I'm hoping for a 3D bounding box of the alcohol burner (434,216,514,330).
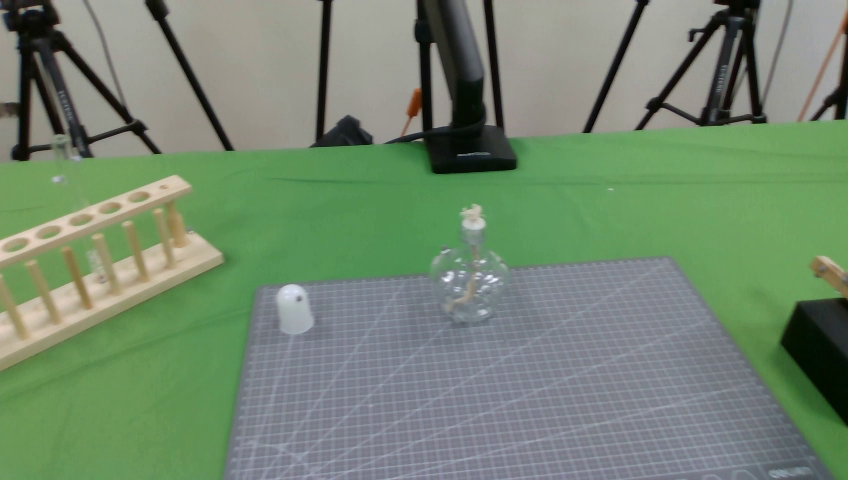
[{"bbox_3d":[0.048,0.026,0.570,0.078,0.120,0.077,1,37,0],"label":"alcohol burner"}]

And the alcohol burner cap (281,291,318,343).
[{"bbox_3d":[-0.119,0.070,0.571,0.034,0.048,0.033,0,36,0],"label":"alcohol burner cap"}]

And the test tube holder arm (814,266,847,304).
[{"bbox_3d":[0.382,0.053,0.534,0.010,0.015,0.087,-4,35,-15],"label":"test tube holder arm"}]

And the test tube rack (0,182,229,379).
[{"bbox_3d":[-0.322,0.033,0.589,0.242,0.086,0.066,-29,44,-35],"label":"test tube rack"}]

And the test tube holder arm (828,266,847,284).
[{"bbox_3d":[0.399,0.078,0.501,0.013,0.015,0.176,-4,36,-16],"label":"test tube holder arm"}]

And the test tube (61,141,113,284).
[{"bbox_3d":[-0.321,-0.022,0.582,0.017,0.151,0.017,2,30,-1],"label":"test tube"}]
